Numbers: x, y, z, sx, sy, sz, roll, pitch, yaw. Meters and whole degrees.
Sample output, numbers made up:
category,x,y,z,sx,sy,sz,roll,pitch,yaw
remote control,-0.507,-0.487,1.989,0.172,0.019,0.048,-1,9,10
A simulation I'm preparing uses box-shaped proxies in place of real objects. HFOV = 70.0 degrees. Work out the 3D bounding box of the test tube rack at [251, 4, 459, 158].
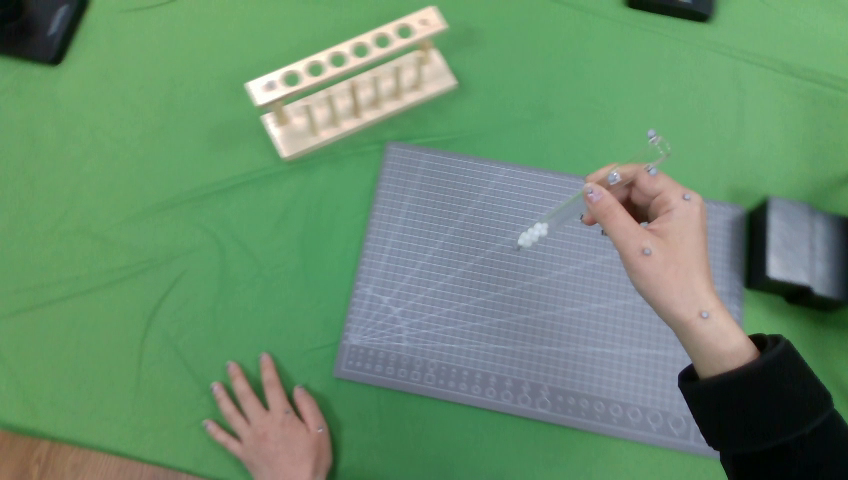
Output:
category,x,y,z,sx,sy,sz,roll,pitch,yaw
test tube rack,-0.076,-0.192,0.739,0.242,0.085,0.066,-25,74,-9

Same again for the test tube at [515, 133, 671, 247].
category,x,y,z,sx,sy,sz,roll,pitch,yaw
test tube,0.118,-0.031,0.451,0.017,0.150,0.017,18,54,-27
